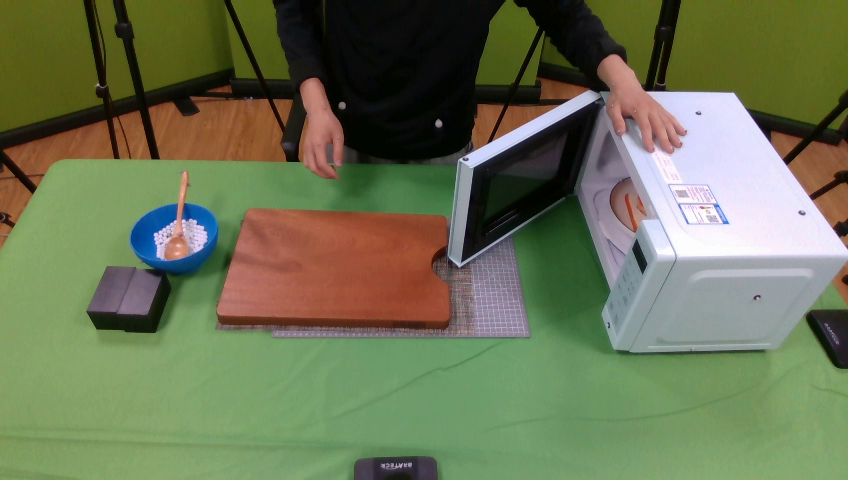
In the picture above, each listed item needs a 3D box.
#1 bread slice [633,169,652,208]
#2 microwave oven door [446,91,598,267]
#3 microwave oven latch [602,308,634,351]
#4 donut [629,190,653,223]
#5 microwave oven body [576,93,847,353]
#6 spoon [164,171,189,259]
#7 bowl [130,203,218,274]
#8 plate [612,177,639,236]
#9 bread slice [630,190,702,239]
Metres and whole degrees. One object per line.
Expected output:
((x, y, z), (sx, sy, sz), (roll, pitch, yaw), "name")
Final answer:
((0.463, -0.088, 1.136), (0.134, 0.018, 0.106), (8, 43, -13), "bread slice")
((0.191, -0.120, 1.157), (0.356, 0.245, 0.039), (-31, 55, -30), "microwave oven door")
((0.332, 0.153, 1.044), (0.030, 0.029, 0.078), (-1, 45, -4), "microwave oven latch")
((0.443, -0.059, 1.163), (0.099, 0.048, 0.098), (1, 50, -1), "donut")
((0.475, -0.041, 1.110), (0.326, 0.261, 0.438), (-1, 45, -4), "microwave oven body")
((-0.452, -0.046, 1.129), (0.041, 0.022, 0.193), (-1, 69, -3), "spoon")
((-0.451, 0.010, 1.116), (0.151, 0.077, 0.150), (3, 45, -2), "bowl")
((0.472, -0.051, 1.187), (0.208, 0.039, 0.206), (-1, 45, 1), "plate")
((0.478, -0.051, 1.190), (0.131, 0.019, 0.104), (16, 46, 12), "bread slice")
